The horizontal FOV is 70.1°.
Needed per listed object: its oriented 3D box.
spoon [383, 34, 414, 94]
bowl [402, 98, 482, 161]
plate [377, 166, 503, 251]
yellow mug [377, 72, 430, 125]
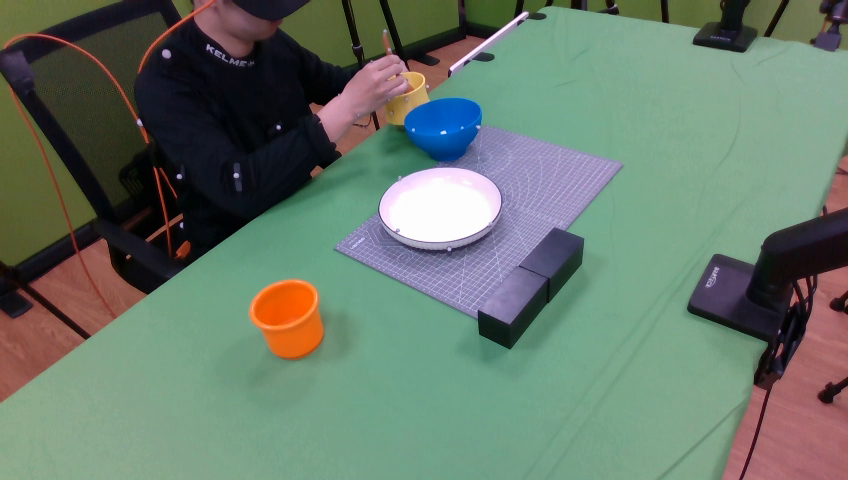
[{"bbox_3d":[-0.050,-0.321,1.163,0.021,0.195,0.041,15,69,25],"label":"spoon"},{"bbox_3d":[0.040,-0.203,1.154,0.151,0.077,0.150,-7,38,6],"label":"bowl"},{"bbox_3d":[0.027,-0.050,1.007,0.209,0.038,0.208,-4,41,4],"label":"plate"},{"bbox_3d":[-0.044,-0.296,1.241,0.100,0.064,0.130,-23,40,-6],"label":"yellow mug"}]
